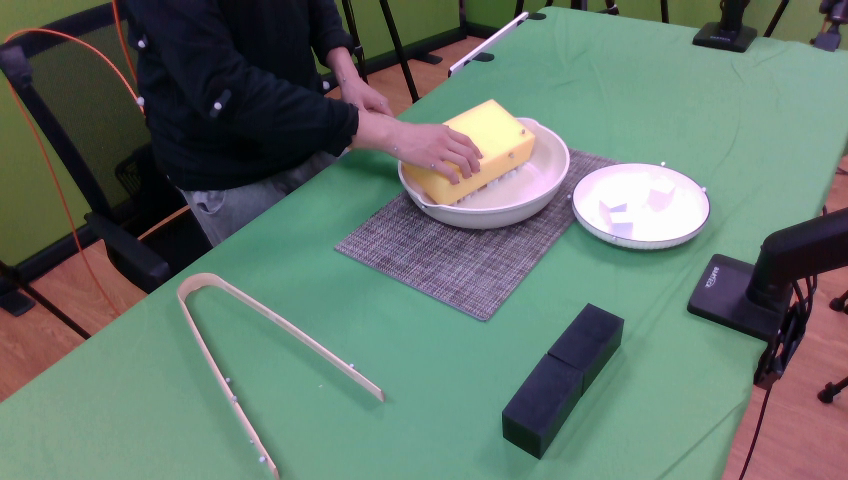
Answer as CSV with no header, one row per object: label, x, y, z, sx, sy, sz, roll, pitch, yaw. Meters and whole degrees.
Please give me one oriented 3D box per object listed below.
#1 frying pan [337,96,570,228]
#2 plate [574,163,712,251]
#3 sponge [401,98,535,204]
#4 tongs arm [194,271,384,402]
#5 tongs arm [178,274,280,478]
frying pan,0.023,-0.167,1.090,0.484,0.103,0.308,32,52,26
plate,0.344,-0.050,0.966,0.207,0.039,0.206,-4,40,4
sponge,0.077,-0.155,1.048,0.208,0.061,0.117,-31,62,-26
tongs arm,-0.199,0.125,0.846,0.384,0.028,0.028,25,53,32
tongs arm,-0.260,0.161,0.807,0.051,0.026,0.381,-29,44,-25
